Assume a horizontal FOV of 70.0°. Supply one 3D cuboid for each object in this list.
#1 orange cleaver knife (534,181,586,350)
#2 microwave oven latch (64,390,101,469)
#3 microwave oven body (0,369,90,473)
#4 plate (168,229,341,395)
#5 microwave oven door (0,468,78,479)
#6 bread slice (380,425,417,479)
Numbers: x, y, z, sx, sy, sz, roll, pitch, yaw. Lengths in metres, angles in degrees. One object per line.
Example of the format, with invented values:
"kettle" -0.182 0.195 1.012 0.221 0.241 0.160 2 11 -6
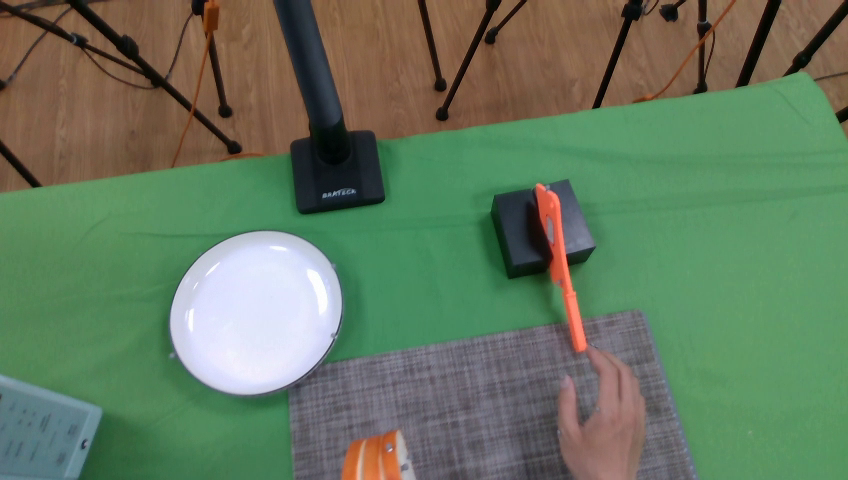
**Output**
"orange cleaver knife" 0.166 0.030 0.751 0.012 0.077 0.212 -14 98 -7
"microwave oven latch" -0.388 0.211 0.673 0.030 0.030 0.078 12 68 3
"microwave oven body" -0.567 0.306 0.525 0.326 0.262 0.439 11 68 3
"plate" -0.204 0.088 0.748 0.208 0.039 0.206 1 67 -1
"microwave oven door" -0.431 0.368 0.496 0.039 0.245 0.353 10 67 4
"bread slice" -0.018 0.256 0.610 0.018 0.106 0.135 -16 101 -1
